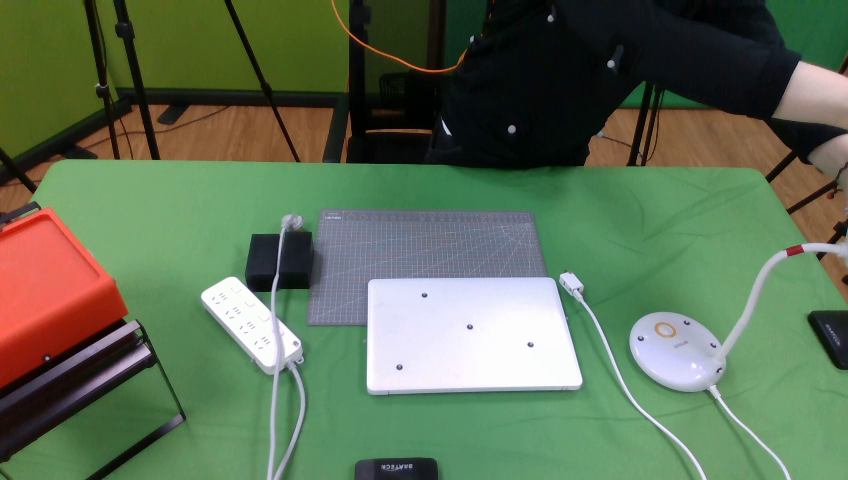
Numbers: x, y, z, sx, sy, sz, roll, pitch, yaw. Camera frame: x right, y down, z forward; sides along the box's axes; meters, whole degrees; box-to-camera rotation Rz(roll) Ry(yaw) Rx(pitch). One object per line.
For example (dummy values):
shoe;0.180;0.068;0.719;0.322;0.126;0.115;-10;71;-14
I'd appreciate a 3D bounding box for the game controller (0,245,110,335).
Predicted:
game controller;-0.510;0.062;0.830;0.097;0.052;0.154;-30;58;-31

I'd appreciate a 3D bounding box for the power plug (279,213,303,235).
power plug;-0.264;-0.021;1.184;0.035;0.053;0.072;2;48;32

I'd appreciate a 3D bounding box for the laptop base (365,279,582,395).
laptop base;0.077;0.162;1.053;0.355;0.023;0.234;0;44;-4

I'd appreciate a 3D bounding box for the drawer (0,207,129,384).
drawer;-0.540;0.074;0.799;0.193;0.073;0.211;37;55;27

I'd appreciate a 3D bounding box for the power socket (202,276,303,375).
power socket;-0.296;0.142;1.033;0.072;0.033;0.225;-34;58;-31

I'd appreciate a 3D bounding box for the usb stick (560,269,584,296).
usb stick;0.275;0.077;1.141;0.027;0.021;0.059;-12;39;-13

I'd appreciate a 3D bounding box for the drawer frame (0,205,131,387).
drawer frame;-0.539;0.076;0.795;0.200;0.083;0.213;36;54;26

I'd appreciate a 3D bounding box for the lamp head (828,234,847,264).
lamp head;0.578;-0.001;0.752;0.112;0.123;0.111;1;48;-1

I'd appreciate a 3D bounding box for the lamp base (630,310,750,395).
lamp base;0.447;0.143;0.984;0.161;0.181;0.178;-24;55;-24

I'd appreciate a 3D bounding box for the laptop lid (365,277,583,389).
laptop lid;0.078;0.152;1.046;0.357;0.013;0.240;1;45;-3
